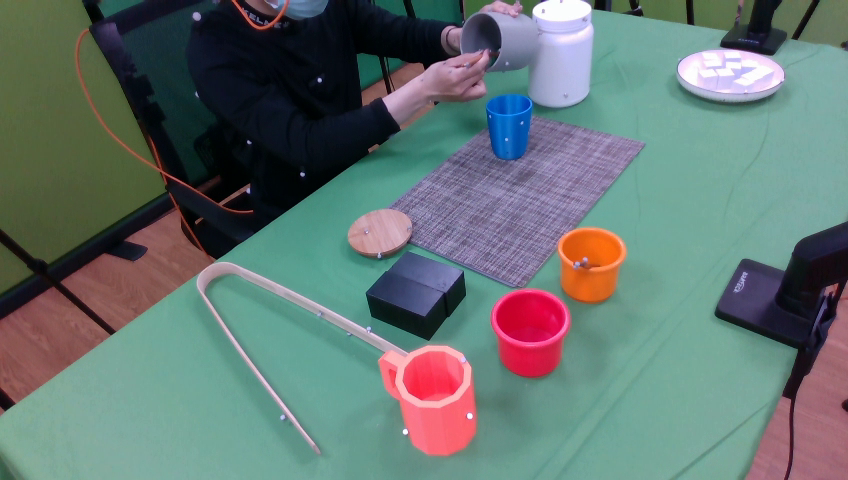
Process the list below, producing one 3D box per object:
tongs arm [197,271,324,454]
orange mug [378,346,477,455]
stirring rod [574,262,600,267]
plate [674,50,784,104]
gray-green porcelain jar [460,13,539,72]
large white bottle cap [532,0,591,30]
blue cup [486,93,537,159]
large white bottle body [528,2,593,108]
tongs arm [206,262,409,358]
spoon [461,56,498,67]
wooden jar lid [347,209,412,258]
[{"bbox_3d":[-0.236,0.155,0.831,0.028,0.028,0.384,-37,48,-17],"label":"tongs arm"},{"bbox_3d":[0.002,0.179,0.708,0.125,0.101,0.083,25,50,27],"label":"orange mug"},{"bbox_3d":[0.222,0.033,0.816,0.014,0.006,0.177,8,1,22],"label":"stirring rod"},{"bbox_3d":[0.631,-0.336,1.262,0.207,0.039,0.206,-4,41,4],"label":"plate"},{"bbox_3d":[0.148,-0.375,1.149,0.127,0.106,0.105,-18,37,-42],"label":"gray-green porcelain jar"},{"bbox_3d":[0.274,-0.450,1.204,0.115,0.018,0.114,-4,41,4],"label":"large white bottle cap"},{"bbox_3d":[0.160,-0.209,1.129,0.092,0.100,0.092,-4,39,3],"label":"blue cup"},{"bbox_3d":[0.283,-0.386,1.259,0.130,0.185,0.130,-4,41,4],"label":"large white bottle body"},{"bbox_3d":[-0.179,0.106,0.870,0.382,0.027,0.051,23,55,32],"label":"tongs arm"},{"bbox_3d":[0.126,-0.334,1.125,0.041,0.021,0.195,21,26,35],"label":"spoon"},{"bbox_3d":[-0.071,-0.010,0.997,0.108,0.021,0.108,-5,44,5],"label":"wooden jar lid"}]
